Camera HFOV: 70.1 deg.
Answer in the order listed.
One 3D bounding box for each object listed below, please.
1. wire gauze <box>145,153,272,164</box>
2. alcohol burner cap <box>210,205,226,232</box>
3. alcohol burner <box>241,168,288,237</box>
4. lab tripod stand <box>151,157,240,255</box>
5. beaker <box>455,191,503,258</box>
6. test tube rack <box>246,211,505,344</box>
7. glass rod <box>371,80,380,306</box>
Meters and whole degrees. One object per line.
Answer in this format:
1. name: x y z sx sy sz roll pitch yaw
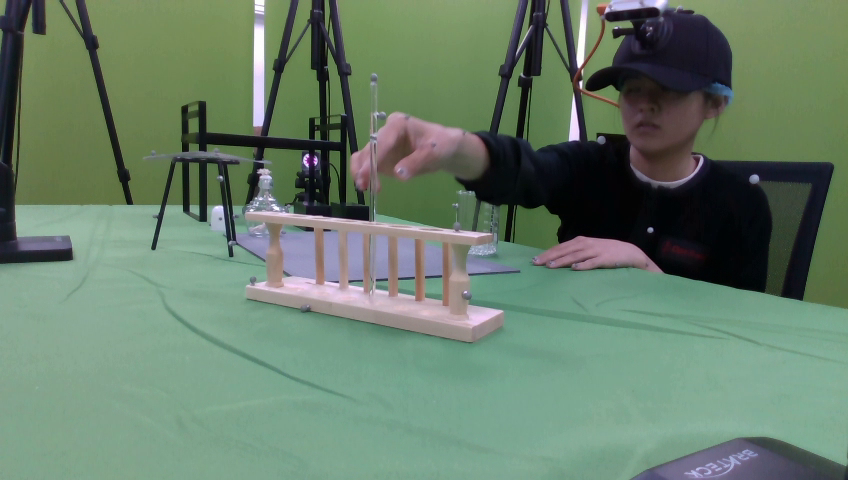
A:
1. wire gauze: -0.303 -0.117 0.854 0.121 0.011 0.126 7 8 34
2. alcohol burner cap: -0.376 -0.040 1.107 0.034 0.048 0.034 2 7 0
3. alcohol burner: -0.272 -0.064 1.036 0.078 0.119 0.078 4 5 0
4. lab tripod stand: -0.310 -0.052 0.866 0.148 0.131 0.148 2 6 0
5. beaker: 0.087 -0.025 0.955 0.074 0.100 0.083 -1 8 -26
6. test tube rack: -0.049 0.025 0.547 0.241 0.085 0.067 7 8 29
7. glass rod: -0.042 -0.039 0.530 0.008 0.199 0.008 1 2 0
